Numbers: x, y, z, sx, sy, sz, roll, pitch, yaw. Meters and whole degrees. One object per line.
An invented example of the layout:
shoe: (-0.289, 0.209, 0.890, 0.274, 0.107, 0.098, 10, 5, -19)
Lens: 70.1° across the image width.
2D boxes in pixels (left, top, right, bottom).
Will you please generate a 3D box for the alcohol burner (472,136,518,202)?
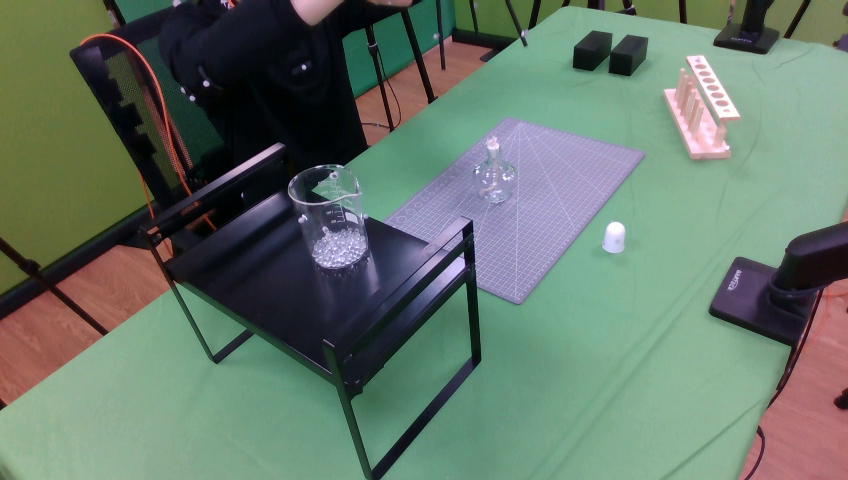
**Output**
alcohol burner: (0.121, -0.124, 1.023, 0.078, 0.119, 0.077, -3, 42, 3)

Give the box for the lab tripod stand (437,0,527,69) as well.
lab tripod stand: (0.069, -0.335, 0.869, 0.148, 0.132, 0.147, -14, 34, 10)

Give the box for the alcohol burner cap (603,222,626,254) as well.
alcohol burner cap: (0.291, -0.006, 0.921, 0.034, 0.048, 0.033, -4, 40, 4)

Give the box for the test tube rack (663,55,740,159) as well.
test tube rack: (0.518, -0.256, 1.144, 0.066, 0.085, 0.241, -1, 41, 8)

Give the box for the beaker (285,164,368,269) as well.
beaker: (-0.101, -0.024, 0.676, 0.083, 0.101, 0.074, 8, 43, 17)
